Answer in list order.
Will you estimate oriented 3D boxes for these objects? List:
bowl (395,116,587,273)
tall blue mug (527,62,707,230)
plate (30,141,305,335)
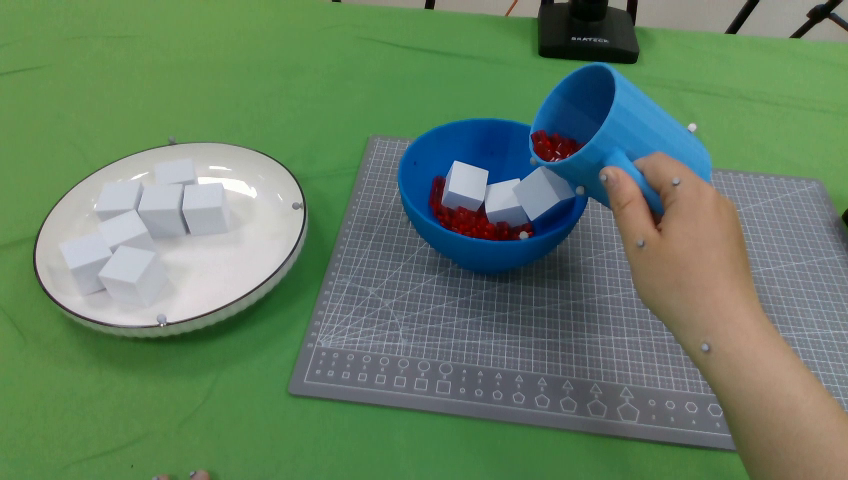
[{"bbox_3d":[0.051,-0.026,0.497,0.151,0.077,0.150,1,47,-1],"label":"bowl"},{"bbox_3d":[0.144,-0.059,0.418,0.109,0.078,0.106,28,1,-30],"label":"tall blue mug"},{"bbox_3d":[-0.202,-0.004,0.497,0.209,0.038,0.207,2,47,-2],"label":"plate"}]
